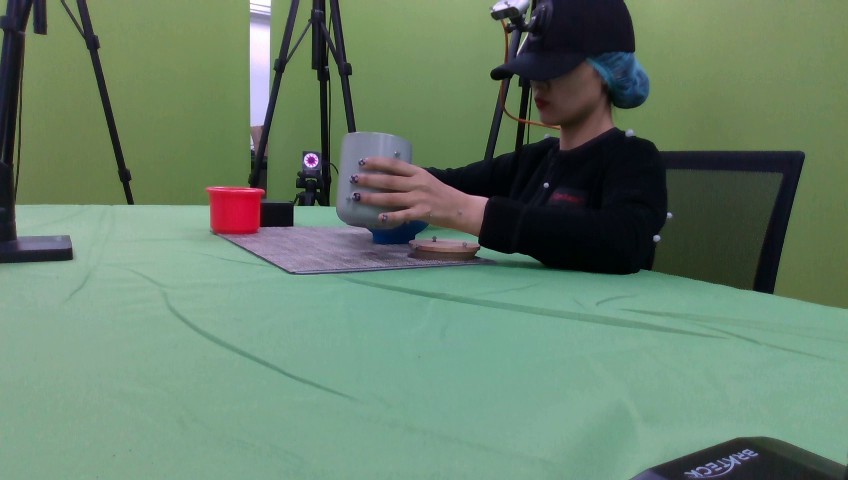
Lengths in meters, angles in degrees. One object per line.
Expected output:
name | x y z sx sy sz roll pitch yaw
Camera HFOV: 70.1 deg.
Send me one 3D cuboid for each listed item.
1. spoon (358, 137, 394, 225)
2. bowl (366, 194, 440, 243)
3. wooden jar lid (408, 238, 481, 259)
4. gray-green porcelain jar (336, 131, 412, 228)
spoon | -0.086 -0.106 1.065 0.021 0.193 0.042 -20 -26 5
bowl | -0.050 -0.038 1.033 0.151 0.077 0.151 3 7 0
wooden jar lid | 0.031 0.012 0.895 0.108 0.020 0.108 2 8 0
gray-green porcelain jar | -0.073 -0.084 0.881 0.106 0.126 0.106 4 -6 1
